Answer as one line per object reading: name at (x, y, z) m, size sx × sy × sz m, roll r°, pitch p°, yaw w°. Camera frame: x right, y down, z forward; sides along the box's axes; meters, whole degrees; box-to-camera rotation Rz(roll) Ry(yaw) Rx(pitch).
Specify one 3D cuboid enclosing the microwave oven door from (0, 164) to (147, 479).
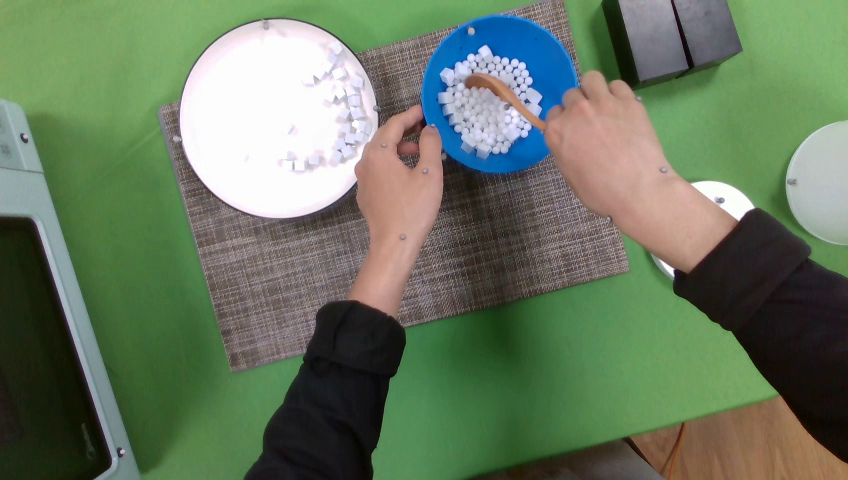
microwave oven door at (-0.374, 0.101, 0.539) m, size 0.039 × 0.243 × 0.356 m, roll -18°, pitch 92°, yaw 2°

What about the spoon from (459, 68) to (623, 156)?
spoon at (0.102, -0.119, 0.560) m, size 0.021 × 0.042 × 0.191 m, roll -50°, pitch 56°, yaw 3°

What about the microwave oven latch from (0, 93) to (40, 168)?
microwave oven latch at (-0.433, -0.112, 0.632) m, size 0.030 × 0.029 × 0.079 m, roll -18°, pitch 93°, yaw 2°

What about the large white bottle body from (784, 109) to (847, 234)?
large white bottle body at (0.443, -0.069, 0.557) m, size 0.130 × 0.184 × 0.130 m, roll 0°, pitch 92°, yaw 2°

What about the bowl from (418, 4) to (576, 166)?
bowl at (0.071, -0.147, 0.612) m, size 0.151 × 0.077 × 0.151 m, roll 0°, pitch 93°, yaw 2°

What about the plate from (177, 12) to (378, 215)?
plate at (-0.150, -0.130, 0.638) m, size 0.209 × 0.038 × 0.209 m, roll 0°, pitch 92°, yaw 1°

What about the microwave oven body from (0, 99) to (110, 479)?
microwave oven body at (-0.526, 0.104, 0.548) m, size 0.326 × 0.260 × 0.442 m, roll -17°, pitch 93°, yaw 1°

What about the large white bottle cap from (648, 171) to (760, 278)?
large white bottle cap at (0.299, -0.016, 0.646) m, size 0.115 × 0.018 × 0.115 m, roll 0°, pitch 93°, yaw 0°
